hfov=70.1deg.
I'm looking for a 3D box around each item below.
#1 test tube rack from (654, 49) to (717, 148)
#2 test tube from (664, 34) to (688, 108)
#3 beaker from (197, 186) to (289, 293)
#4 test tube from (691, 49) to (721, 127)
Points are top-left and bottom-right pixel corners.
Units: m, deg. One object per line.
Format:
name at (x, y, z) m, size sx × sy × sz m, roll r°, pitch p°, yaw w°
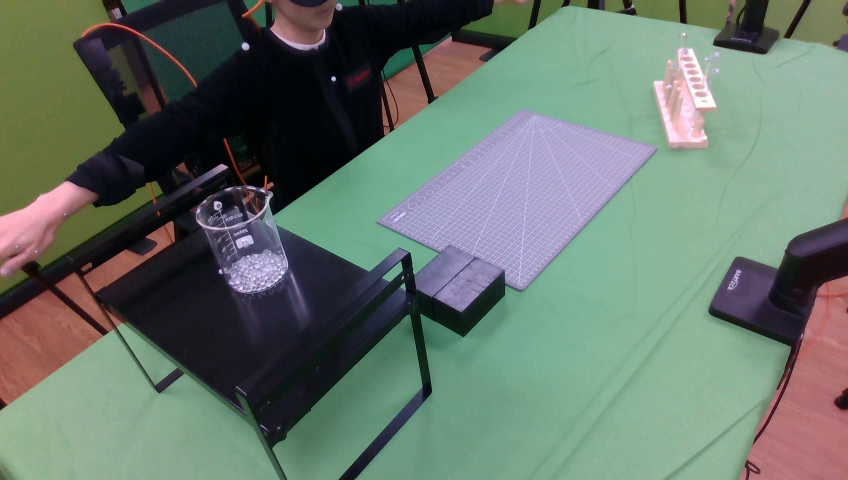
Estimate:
test tube rack at (0.502, -0.281, 1.176) m, size 0.066 × 0.085 × 0.241 m, roll 1°, pitch 41°, yaw 11°
test tube at (0.483, -0.322, 1.159) m, size 0.017 × 0.151 × 0.017 m, roll -3°, pitch 42°, yaw 3°
beaker at (-0.192, 0.001, 0.666) m, size 0.084 × 0.101 × 0.073 m, roll -33°, pitch 47°, yaw -27°
test tube at (0.505, -0.270, 1.087) m, size 0.017 × 0.151 × 0.017 m, roll -1°, pitch 41°, yaw 1°
